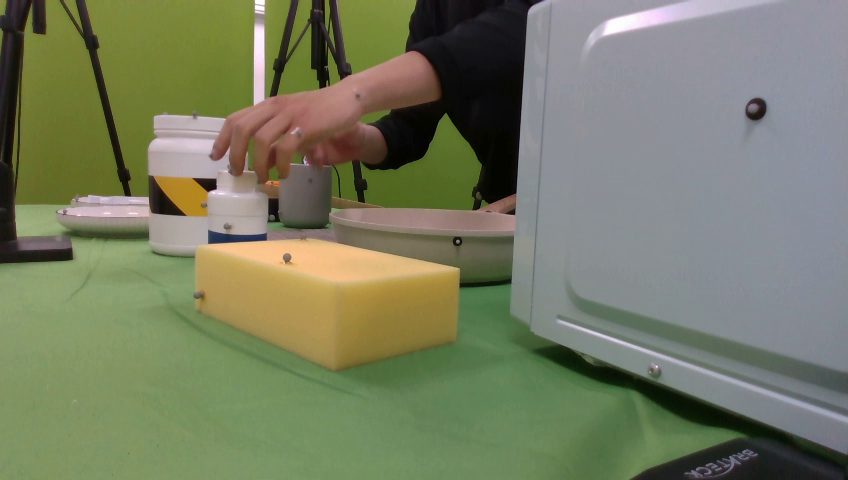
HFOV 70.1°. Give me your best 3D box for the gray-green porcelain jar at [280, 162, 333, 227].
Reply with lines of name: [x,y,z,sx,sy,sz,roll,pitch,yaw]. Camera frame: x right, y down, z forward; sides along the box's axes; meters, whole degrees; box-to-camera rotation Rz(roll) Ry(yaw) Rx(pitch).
gray-green porcelain jar: [-0.238,-0.092,1.221,0.106,0.126,0.106,2,7,0]

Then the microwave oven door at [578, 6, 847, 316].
microwave oven door: [0.294,-0.067,0.570,0.358,0.243,0.039,-3,9,-31]

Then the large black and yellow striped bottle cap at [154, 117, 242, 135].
large black and yellow striped bottle cap: [-0.314,-0.158,0.843,0.115,0.019,0.115,3,7,0]

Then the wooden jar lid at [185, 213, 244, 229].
wooden jar lid: [-0.404,-0.037,1.169,0.108,0.020,0.108,3,7,0]

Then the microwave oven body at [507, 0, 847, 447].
microwave oven body: [0.331,-0.042,0.425,0.444,0.260,0.324,-2,8,-31]

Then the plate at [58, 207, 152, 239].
plate: [-0.496,-0.030,1.021,0.209,0.038,0.209,2,8,0]

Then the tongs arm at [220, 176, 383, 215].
tongs arm: [-0.285,-0.104,1.445,0.389,0.027,0.028,9,-4,-23]

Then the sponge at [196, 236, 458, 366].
sponge: [-0.087,0.039,0.500,0.206,0.061,0.119,9,10,44]

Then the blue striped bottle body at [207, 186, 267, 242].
blue striped bottle body: [-0.204,-0.016,0.663,0.063,0.120,0.063,2,7,0]

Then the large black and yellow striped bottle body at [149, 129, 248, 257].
large black and yellow striped bottle body: [-0.315,-0.075,0.854,0.131,0.184,0.130,2,7,0]

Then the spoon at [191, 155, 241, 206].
spoon: [-0.489,-0.136,1.418,0.041,0.021,0.194,2,-35,19]

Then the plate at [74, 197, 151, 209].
plate: [-0.596,-0.062,1.238,0.208,0.039,0.207,2,8,0]

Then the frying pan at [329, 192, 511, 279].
frying pan: [0.072,-0.030,0.883,0.305,0.102,0.490,7,17,27]

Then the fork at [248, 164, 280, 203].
fork: [-0.398,-0.144,1.489,0.028,0.018,0.208,23,-23,47]

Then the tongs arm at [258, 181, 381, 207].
tongs arm: [-0.241,-0.095,1.373,0.387,0.026,0.050,9,0,-37]

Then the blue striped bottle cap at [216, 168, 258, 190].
blue striped bottle cap: [-0.202,-0.066,0.656,0.044,0.020,0.044,2,9,0]

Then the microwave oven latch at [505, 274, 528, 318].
microwave oven latch: [0.100,0.041,0.473,0.079,0.029,0.030,-2,8,-31]
